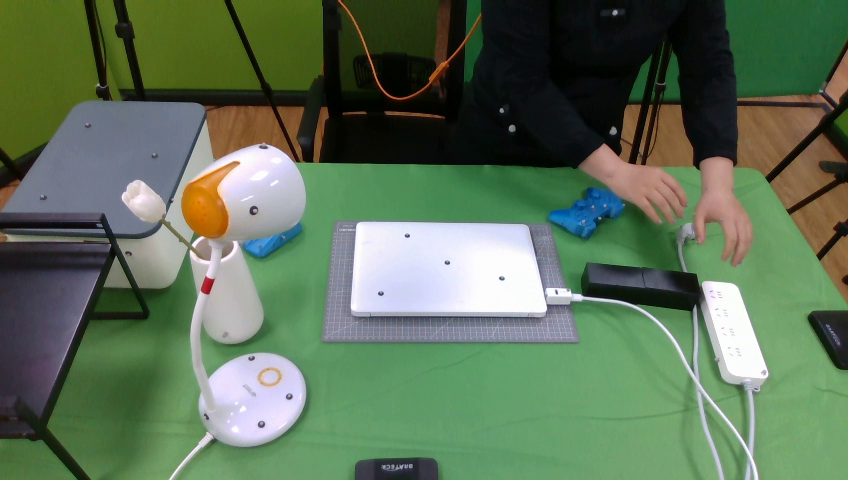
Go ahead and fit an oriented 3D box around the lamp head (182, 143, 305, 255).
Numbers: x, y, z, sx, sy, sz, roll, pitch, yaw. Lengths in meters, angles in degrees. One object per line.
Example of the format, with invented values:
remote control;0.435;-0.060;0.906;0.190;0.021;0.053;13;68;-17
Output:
lamp head;-0.216;-0.044;0.697;0.112;0.113;0.123;23;31;17

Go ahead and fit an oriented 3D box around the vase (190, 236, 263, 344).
vase;-0.317;0.081;0.971;0.098;0.201;0.097;3;47;-3

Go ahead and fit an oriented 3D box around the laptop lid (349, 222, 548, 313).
laptop lid;0.041;0.046;1.143;0.357;0.013;0.240;2;44;-3

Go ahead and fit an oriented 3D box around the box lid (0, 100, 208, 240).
box lid;-0.559;-0.138;1.085;0.263;0.015;0.369;2;46;-2

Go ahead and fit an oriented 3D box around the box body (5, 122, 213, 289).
box body;-0.563;-0.087;1.140;0.254;0.161;0.361;2;46;-3

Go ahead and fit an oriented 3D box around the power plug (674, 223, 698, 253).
power plug;0.536;-0.001;1.246;0.053;0.035;0.072;22;87;-18

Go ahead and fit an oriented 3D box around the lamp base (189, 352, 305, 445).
lamp base;-0.268;0.197;0.876;0.160;0.181;0.179;25;52;20

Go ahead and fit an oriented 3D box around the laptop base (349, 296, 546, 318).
laptop base;0.041;0.056;1.149;0.355;0.023;0.234;1;43;-4

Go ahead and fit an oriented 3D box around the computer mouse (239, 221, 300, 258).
computer mouse;-0.300;-0.016;1.178;0.062;0.041;0.117;35;57;22

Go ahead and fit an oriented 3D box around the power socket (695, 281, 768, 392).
power socket;0.542;0.161;1.078;0.072;0.033;0.225;5;46;2

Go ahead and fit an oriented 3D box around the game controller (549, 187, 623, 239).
game controller;0.345;-0.065;1.272;0.155;0.052;0.096;-31;59;-29

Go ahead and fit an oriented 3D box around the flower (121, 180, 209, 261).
flower;-0.329;0.029;0.905;0.038;0.364;0.044;-22;58;-1

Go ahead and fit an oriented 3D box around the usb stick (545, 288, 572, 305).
usb stick;0.236;0.103;1.102;0.059;0.027;0.021;-1;45;0
